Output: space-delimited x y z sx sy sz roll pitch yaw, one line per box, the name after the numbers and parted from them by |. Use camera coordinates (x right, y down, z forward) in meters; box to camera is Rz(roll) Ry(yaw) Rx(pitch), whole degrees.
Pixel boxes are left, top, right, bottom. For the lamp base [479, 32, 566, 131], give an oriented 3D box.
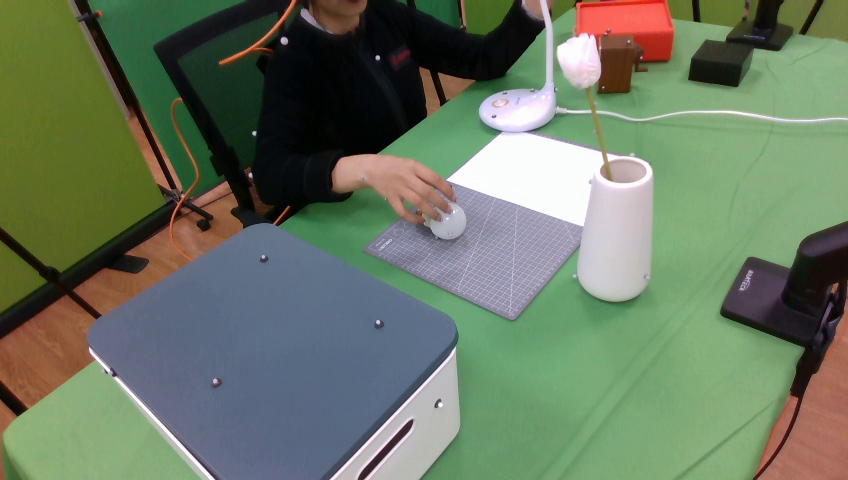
0.201 -0.332 1.218 0.179 0.181 0.160 2 41 7 | lamp base

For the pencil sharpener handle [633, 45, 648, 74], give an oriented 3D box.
0.454 -0.378 1.262 0.030 0.068 0.036 1 47 13 | pencil sharpener handle

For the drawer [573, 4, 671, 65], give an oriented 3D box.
0.461 -0.491 1.435 0.211 0.073 0.194 2 41 12 | drawer

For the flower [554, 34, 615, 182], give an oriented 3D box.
0.237 -0.083 0.774 0.044 0.363 0.038 -22 26 6 | flower

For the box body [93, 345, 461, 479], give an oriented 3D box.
-0.162 0.170 0.708 0.361 0.161 0.255 25 50 34 | box body

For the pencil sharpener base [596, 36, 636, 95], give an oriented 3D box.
0.406 -0.369 1.280 0.076 0.107 0.061 1 41 13 | pencil sharpener base

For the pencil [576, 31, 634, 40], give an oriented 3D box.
0.431 -0.488 1.444 0.012 0.012 0.192 -25 30 -18 | pencil

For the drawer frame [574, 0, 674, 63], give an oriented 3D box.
0.464 -0.492 1.434 0.213 0.083 0.201 1 40 12 | drawer frame

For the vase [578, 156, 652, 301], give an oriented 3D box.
0.261 -0.011 0.812 0.098 0.201 0.097 -4 40 4 | vase

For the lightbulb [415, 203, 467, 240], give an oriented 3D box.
0.024 -0.034 0.999 0.060 0.060 0.107 -38 32 -30 | lightbulb

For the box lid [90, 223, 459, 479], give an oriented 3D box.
-0.174 0.102 0.666 0.368 0.015 0.264 24 48 35 | box lid
